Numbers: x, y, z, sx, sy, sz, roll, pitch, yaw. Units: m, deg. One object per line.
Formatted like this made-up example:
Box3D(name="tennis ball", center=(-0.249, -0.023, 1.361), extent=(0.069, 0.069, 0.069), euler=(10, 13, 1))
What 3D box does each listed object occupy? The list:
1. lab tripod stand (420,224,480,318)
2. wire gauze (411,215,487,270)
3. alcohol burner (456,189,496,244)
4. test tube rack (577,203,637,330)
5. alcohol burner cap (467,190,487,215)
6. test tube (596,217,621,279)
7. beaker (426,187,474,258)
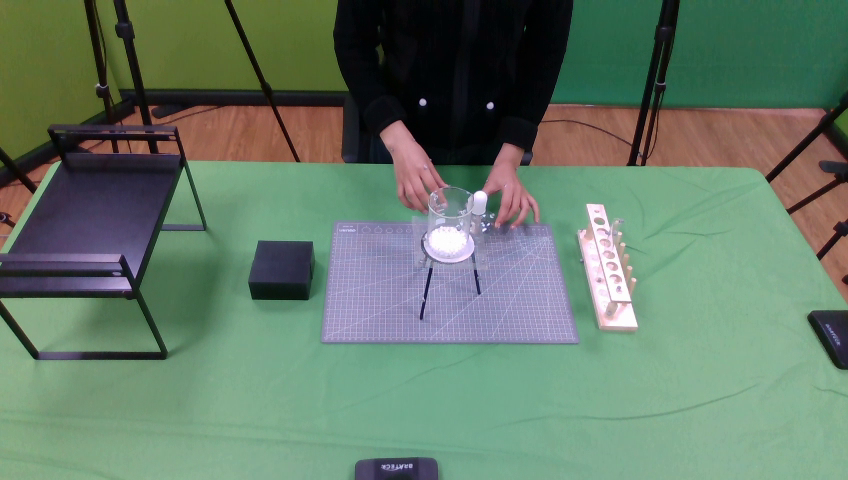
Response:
Box3D(name="lab tripod stand", center=(0.034, 0.051, 1.071), extent=(0.148, 0.132, 0.147), euler=(3, 48, -3))
Box3D(name="wire gauze", center=(0.041, 0.003, 1.026), extent=(0.125, 0.011, 0.120), euler=(0, 46, -1))
Box3D(name="alcohol burner", center=(0.103, -0.050, 1.188), extent=(0.078, 0.120, 0.077), euler=(1, 46, 0))
Box3D(name="test tube rack", center=(0.348, 0.045, 1.139), extent=(0.067, 0.085, 0.241), euler=(2, 46, -2))
Box3D(name="alcohol burner cap", center=(0.104, -0.075, 1.161), extent=(0.034, 0.048, 0.033), euler=(5, 50, -6))
Box3D(name="test tube", center=(0.331, 0.018, 1.094), extent=(0.017, 0.151, 0.017), euler=(0, 45, 0))
Box3D(name="beaker", center=(0.043, -0.027, 0.989), extent=(0.084, 0.101, 0.073), euler=(-27, 53, -26))
